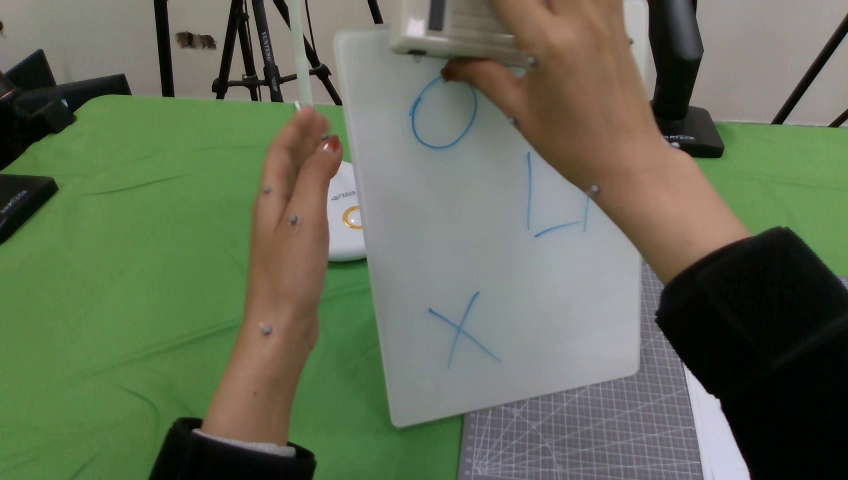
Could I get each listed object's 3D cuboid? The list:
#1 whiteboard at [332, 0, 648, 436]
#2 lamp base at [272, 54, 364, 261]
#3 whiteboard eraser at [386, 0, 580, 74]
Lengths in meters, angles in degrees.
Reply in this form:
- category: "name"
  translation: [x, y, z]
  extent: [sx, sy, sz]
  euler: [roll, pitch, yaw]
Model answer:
- category: "whiteboard"
  translation: [0.050, -0.027, 0.508]
  extent: [0.217, 0.307, 0.142]
  euler: [-10, 21, -9]
- category: "lamp base"
  translation: [-0.101, -0.096, 0.648]
  extent: [0.161, 0.182, 0.177]
  euler: [-29, 45, -29]
- category: "whiteboard eraser"
  translation: [0.035, -0.131, 0.359]
  extent: [0.113, 0.056, 0.041]
  euler: [0, 17, -18]
